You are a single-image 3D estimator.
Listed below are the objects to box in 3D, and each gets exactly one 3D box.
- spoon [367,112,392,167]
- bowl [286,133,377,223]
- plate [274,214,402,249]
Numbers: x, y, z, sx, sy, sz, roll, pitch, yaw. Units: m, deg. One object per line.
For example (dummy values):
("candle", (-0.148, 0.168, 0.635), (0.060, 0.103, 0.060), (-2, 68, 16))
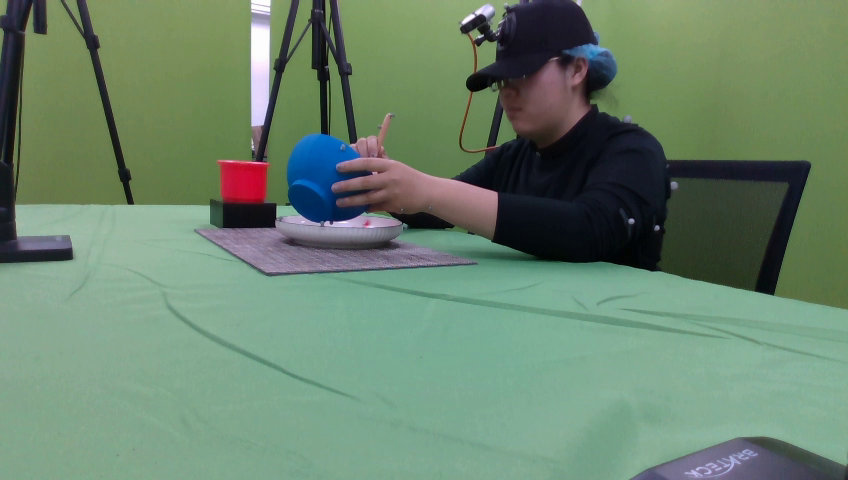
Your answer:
("spoon", (-0.091, -0.135, 1.016), (0.022, 0.193, 0.041), (38, -27, -32))
("bowl", (-0.155, -0.078, 0.916), (0.151, 0.152, 0.077), (6, 44, 30))
("plate", (-0.141, -0.015, 0.993), (0.208, 0.039, 0.207), (3, 7, 0))
